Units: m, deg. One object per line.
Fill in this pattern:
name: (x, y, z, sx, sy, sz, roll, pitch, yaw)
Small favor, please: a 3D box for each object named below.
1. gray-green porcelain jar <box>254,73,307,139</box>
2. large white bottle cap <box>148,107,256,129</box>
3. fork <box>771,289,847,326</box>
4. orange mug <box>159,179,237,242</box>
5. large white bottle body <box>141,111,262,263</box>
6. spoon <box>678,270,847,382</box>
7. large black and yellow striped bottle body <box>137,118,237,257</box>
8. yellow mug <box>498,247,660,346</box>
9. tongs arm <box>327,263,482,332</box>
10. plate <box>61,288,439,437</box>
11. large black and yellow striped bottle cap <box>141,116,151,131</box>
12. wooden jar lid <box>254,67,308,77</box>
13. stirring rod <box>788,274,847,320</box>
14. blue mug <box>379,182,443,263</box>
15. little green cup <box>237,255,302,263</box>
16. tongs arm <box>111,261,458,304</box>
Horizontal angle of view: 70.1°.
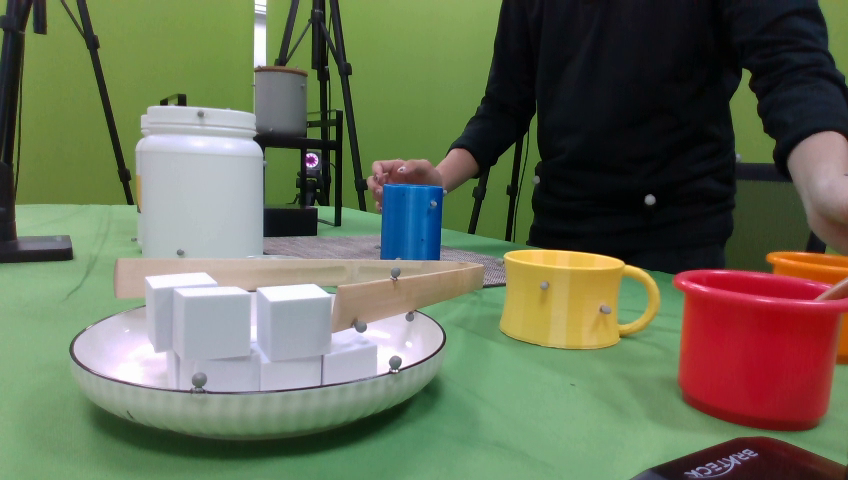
gray-green porcelain jar: (-0.298, -0.277, 1.259, 0.106, 0.126, 0.106, 3, 7, 0)
large white bottle cap: (-0.250, -0.137, 0.686, 0.115, 0.018, 0.115, 3, 8, 0)
fork: (0.337, 0.018, 0.444, 0.028, 0.018, 0.207, -2, -35, -21)
orange mug: (-0.368, -0.052, 0.991, 0.127, 0.101, 0.083, -10, 14, -41)
large white bottle body: (-0.254, -0.053, 0.697, 0.131, 0.184, 0.130, 2, 7, 0)
spoon: (0.229, 0.031, 0.338, 0.193, 0.021, 0.042, -44, -17, 27)
large black and yellow striped bottle body: (-0.330, -0.075, 0.849, 0.131, 0.184, 0.130, 2, 8, 0)
yellow mug: (0.130, 0.045, 0.508, 0.131, 0.064, 0.100, 4, 7, 6)
tongs arm: (-0.003, 0.036, 0.493, 0.050, 0.026, 0.386, 1, 0, 19)
plate: (-0.095, 0.069, 0.362, 0.208, 0.039, 0.207, 3, 7, 0)
large black and yellow striped bottle cap: (-0.328, -0.158, 0.837, 0.115, 0.019, 0.115, 2, 6, 0)
wooden jar lid: (-0.296, -0.339, 1.251, 0.108, 0.020, 0.108, 2, 7, 0)
stirring rod: (0.359, 0.010, 0.468, 0.006, 0.175, 0.014, 47, 35, 10)
blue mug: (-0.020, -0.025, 0.833, 0.082, 0.106, 0.116, 1, 7, -6)
little green cup: (-0.150, 0.038, 0.590, 0.061, 0.038, 0.061, 3, 6, 0)
tongs arm: (-0.080, 0.032, 0.527, 0.028, 0.027, 0.389, -3, -3, 33)
